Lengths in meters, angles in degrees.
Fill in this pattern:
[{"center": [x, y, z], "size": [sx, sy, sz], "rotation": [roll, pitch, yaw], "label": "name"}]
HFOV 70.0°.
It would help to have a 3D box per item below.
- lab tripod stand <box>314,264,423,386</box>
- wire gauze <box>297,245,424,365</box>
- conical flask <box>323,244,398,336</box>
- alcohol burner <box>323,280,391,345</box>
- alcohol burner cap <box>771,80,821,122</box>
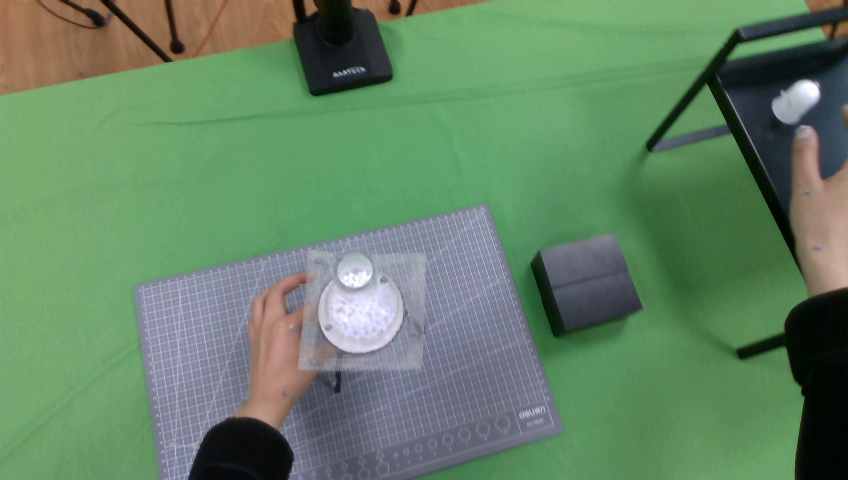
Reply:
[{"center": [-0.073, 0.085, 0.670], "size": [0.148, 0.132, 0.147], "rotation": [1, 71, -2], "label": "lab tripod stand"}, {"center": [-0.061, 0.064, 0.608], "size": [0.121, 0.011, 0.124], "rotation": [3, 68, -4], "label": "wire gauze"}, {"center": [-0.060, 0.041, 0.554], "size": [0.075, 0.122, 0.075], "rotation": [1, 70, -3], "label": "conical flask"}, {"center": [-0.076, 0.078, 0.682], "size": [0.078, 0.119, 0.077], "rotation": [1, 72, -4], "label": "alcohol burner"}, {"center": [0.405, -0.153, 0.654], "size": [0.034, 0.048, 0.033], "rotation": [2, 69, -5], "label": "alcohol burner cap"}]
